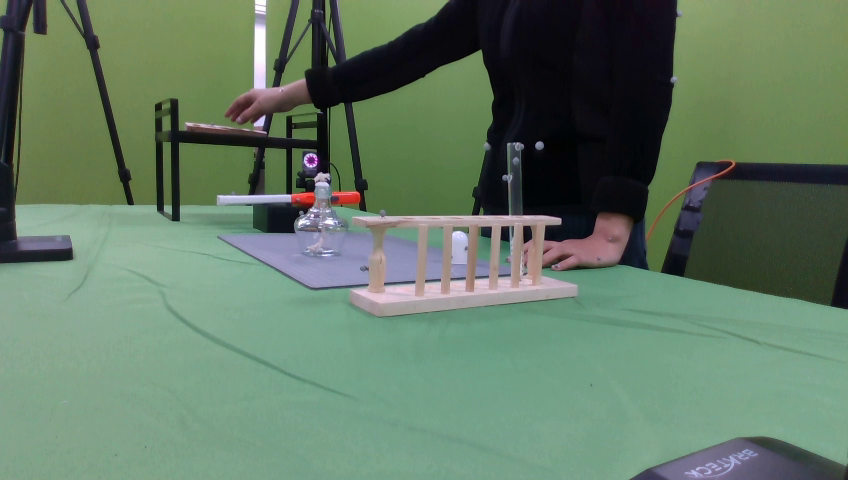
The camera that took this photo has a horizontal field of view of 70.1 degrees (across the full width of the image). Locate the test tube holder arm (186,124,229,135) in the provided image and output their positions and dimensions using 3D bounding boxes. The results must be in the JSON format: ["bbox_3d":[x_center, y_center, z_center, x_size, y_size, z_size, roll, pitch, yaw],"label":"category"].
[{"bbox_3d":[-0.464,-0.236,1.299,0.088,0.015,0.010,-2,46,-41],"label":"test tube holder arm"}]

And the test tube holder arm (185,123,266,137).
[{"bbox_3d":[-0.433,-0.242,1.332,0.179,0.015,0.013,-3,47,-42],"label":"test tube holder arm"}]

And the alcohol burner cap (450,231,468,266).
[{"bbox_3d":[0.046,0.012,0.839,0.034,0.048,0.034,3,5,0],"label":"alcohol burner cap"}]

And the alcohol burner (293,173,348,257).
[{"bbox_3d":[-0.146,-0.036,0.859,0.078,0.119,0.078,4,8,0],"label":"alcohol burner"}]

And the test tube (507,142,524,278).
[{"bbox_3d":[0.101,-0.032,0.666,0.017,0.150,0.017,-2,6,1],"label":"test tube"}]

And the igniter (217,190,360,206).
[{"bbox_3d":[-0.247,-0.080,1.150,0.278,0.025,0.057,-5,7,-29],"label":"igniter"}]

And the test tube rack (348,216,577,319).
[{"bbox_3d":[0.048,0.021,0.619,0.244,0.085,0.066,-2,9,-31],"label":"test tube rack"}]
